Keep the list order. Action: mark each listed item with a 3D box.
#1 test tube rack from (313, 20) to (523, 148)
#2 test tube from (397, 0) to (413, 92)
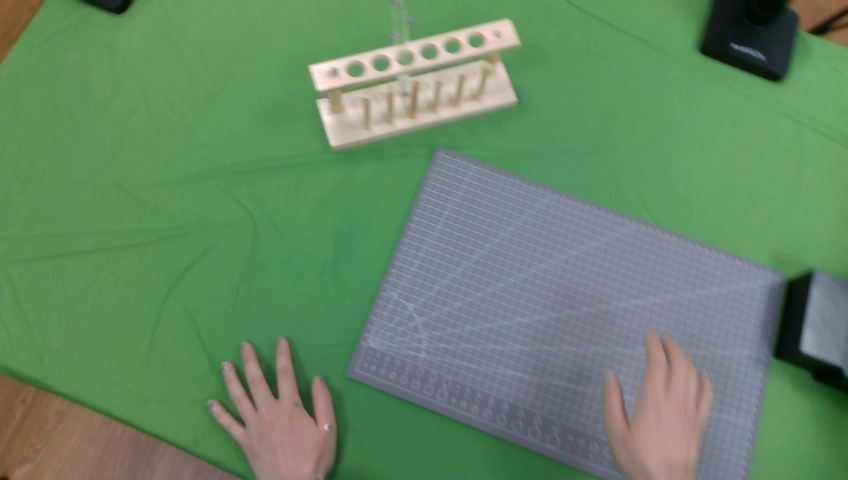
[{"bbox_3d":[-0.002,-0.186,0.726,0.243,0.085,0.066,-15,74,-9],"label":"test tube rack"},{"bbox_3d":[-0.021,-0.213,0.681,0.017,0.151,0.017,1,70,-1],"label":"test tube"}]
